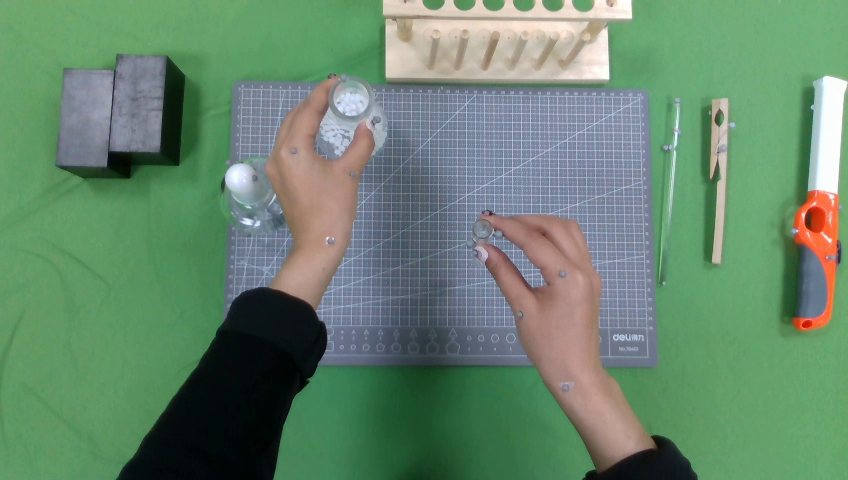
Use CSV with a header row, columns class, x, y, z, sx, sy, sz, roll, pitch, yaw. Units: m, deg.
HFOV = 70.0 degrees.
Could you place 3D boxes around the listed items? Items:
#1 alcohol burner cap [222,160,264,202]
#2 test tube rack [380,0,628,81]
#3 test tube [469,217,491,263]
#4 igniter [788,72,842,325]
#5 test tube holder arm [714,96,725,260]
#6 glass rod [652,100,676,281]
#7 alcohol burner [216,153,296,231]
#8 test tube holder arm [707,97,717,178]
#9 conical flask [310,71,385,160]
class,x,y,z,sx,sy,sz,roll,pitch,yaw
alcohol burner cap,-0.165,-0.056,0.546,0.034,0.048,0.033,1,79,-6
test tube rack,0.077,-0.213,0.627,0.242,0.085,0.066,0,84,-2
test tube,0.047,0.002,0.516,0.017,0.151,0.017,-1,80,4
igniter,0.421,-0.044,0.651,0.057,0.025,0.276,10,84,-11
test tube holder arm,0.317,-0.067,0.652,0.013,0.015,0.178,-3,82,35
glass rod,0.260,-0.055,0.654,0.008,0.008,0.199,7,85,-2
alcohol burner,-0.166,-0.050,0.582,0.078,0.119,0.077,0,82,0
test tube holder arm,0.314,-0.112,0.660,0.010,0.015,0.087,-1,83,35
conical flask,-0.071,-0.119,0.559,0.075,0.121,0.075,0,89,-7
